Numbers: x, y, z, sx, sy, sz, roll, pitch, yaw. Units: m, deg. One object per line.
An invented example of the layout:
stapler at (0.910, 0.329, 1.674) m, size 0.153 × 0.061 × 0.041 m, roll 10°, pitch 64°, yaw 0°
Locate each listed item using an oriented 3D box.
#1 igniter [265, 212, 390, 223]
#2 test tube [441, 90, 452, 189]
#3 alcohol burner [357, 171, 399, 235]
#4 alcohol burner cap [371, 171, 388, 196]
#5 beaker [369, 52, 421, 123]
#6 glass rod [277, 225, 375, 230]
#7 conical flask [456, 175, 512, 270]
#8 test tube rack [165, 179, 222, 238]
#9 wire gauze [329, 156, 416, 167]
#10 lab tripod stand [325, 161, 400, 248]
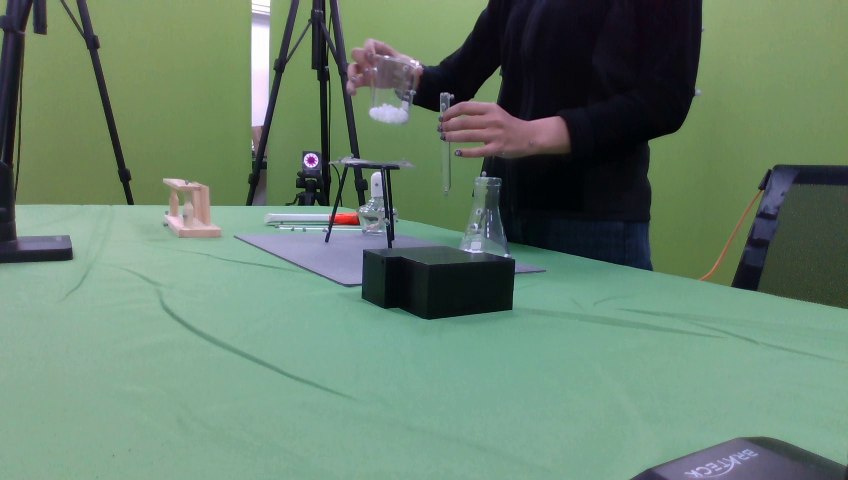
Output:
igniter at (-0.195, -0.048, 1.285) m, size 0.278 × 0.025 × 0.057 m, roll -2°, pitch -2°, yaw -30°
test tube at (0.034, -0.153, 0.928) m, size 0.017 × 0.150 × 0.017 m, roll -1°, pitch 4°, yaw 0°
alcohol burner at (-0.085, -0.069, 1.125) m, size 0.078 × 0.119 × 0.078 m, roll 3°, pitch 10°, yaw 0°
alcohol burner cap at (-0.085, -0.104, 1.121) m, size 0.034 × 0.048 × 0.034 m, roll -5°, pitch 8°, yaw 1°
beaker at (-0.047, -0.242, 0.970) m, size 0.083 × 0.100 × 0.074 m, roll 22°, pitch 23°, yaw 31°
glass rod at (-0.187, -0.024, 1.178) m, size 0.201 × 0.008 × 0.008 m, roll 1°, pitch 6°, yaw -31°
conical flask at (0.082, -0.025, 0.801) m, size 0.075 × 0.122 × 0.075 m, roll 2°, pitch 7°, yaw 0°
test tube rack at (-0.423, -0.062, 1.098) m, size 0.067 × 0.085 × 0.241 m, roll -2°, pitch 9°, yaw -28°
wire gauze at (-0.079, -0.126, 0.972) m, size 0.121 × 0.011 × 0.125 m, roll 4°, pitch 8°, yaw 5°
lab tripod stand at (-0.083, -0.059, 0.977) m, size 0.148 × 0.131 × 0.148 m, roll 4°, pitch 8°, yaw 0°
